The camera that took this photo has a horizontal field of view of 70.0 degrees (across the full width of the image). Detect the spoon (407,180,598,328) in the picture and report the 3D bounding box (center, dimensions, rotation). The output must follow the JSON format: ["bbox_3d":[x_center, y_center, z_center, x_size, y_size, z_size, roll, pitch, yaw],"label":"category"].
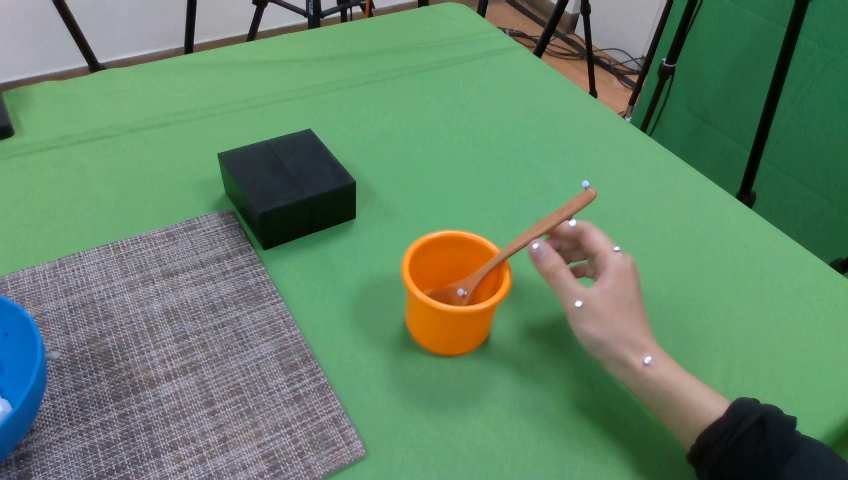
[{"bbox_3d":[0.063,0.012,0.504,0.022,0.194,0.041,28,29,-49],"label":"spoon"}]

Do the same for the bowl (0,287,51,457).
[{"bbox_3d":[-0.323,0.109,0.404,0.151,0.077,0.150,4,46,-4],"label":"bowl"}]
